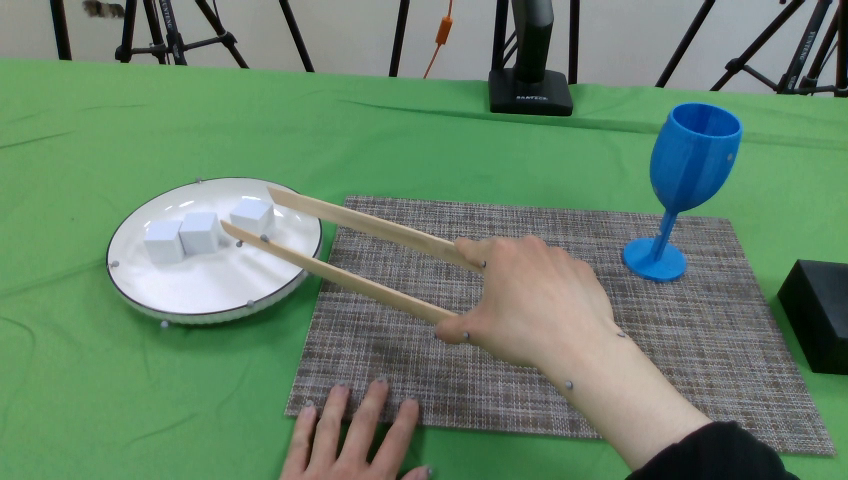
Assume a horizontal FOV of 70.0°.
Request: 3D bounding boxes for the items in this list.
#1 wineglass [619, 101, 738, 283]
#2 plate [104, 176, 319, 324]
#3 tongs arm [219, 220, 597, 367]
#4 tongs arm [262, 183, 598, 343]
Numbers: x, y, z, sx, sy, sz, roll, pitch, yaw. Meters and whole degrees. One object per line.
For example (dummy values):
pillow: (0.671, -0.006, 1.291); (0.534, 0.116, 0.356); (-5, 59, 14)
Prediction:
wineglass: (0.244, -0.044, 0.595); (0.074, 0.174, 0.073); (1, 42, -1)
plate: (-0.211, 0.009, 0.622); (0.209, 0.038, 0.207); (1, 42, -1)
tongs arm: (-0.041, 0.029, 0.523); (0.381, 0.027, 0.050); (20, 53, 33)
tongs arm: (-0.020, 0.004, 0.542); (0.384, 0.028, 0.028); (20, 49, 33)
